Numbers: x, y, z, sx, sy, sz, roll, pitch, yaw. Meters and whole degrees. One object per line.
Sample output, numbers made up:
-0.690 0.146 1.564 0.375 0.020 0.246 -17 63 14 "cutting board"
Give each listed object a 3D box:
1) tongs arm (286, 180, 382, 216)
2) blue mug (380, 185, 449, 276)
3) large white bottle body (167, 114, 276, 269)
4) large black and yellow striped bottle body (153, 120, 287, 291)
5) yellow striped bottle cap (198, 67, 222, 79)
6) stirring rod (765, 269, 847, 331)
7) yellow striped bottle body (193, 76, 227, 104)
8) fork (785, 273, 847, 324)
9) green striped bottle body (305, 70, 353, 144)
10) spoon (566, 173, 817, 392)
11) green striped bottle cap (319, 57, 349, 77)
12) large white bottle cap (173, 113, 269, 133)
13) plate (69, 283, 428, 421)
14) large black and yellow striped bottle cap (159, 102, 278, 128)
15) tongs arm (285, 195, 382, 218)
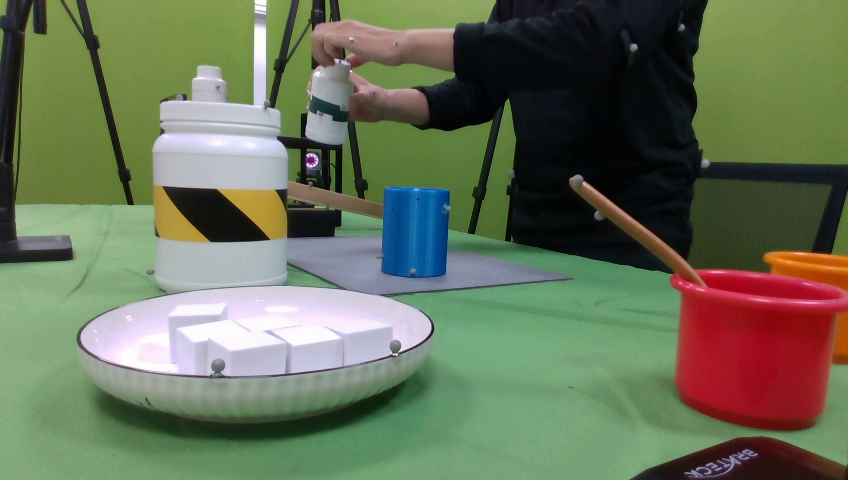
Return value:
-0.122 -0.066 1.147 0.387 0.026 0.050 11 -3 -37 "tongs arm"
-0.018 -0.016 0.764 0.083 0.106 0.116 -1 8 -25 "blue mug"
-0.256 -0.063 0.772 0.131 0.184 0.130 2 7 0 "large white bottle body"
-0.208 -0.042 0.626 0.131 0.184 0.130 2 7 0 "large black and yellow striped bottle body"
-0.411 -0.320 1.163 0.044 0.018 0.044 1 5 0 "yellow striped bottle cap"
0.352 0.020 0.484 0.176 0.006 0.014 -40 -6 13 "stirring rod"
-0.414 -0.268 1.169 0.063 0.120 0.063 2 7 0 "yellow striped bottle body"
0.332 0.018 0.444 0.028 0.018 0.207 -1 -35 -15 "fork"
-0.145 -0.213 0.931 0.063 0.119 0.063 10 20 -3 "green striped bottle body"
0.161 0.024 0.370 0.193 0.021 0.042 47 18 3 "spoon"
-0.135 -0.261 0.912 0.044 0.020 0.044 12 21 -5 "green striped bottle cap"
-0.254 -0.146 0.760 0.115 0.018 0.115 1 7 0 "large white bottle cap"
-0.102 0.066 0.381 0.208 0.039 0.207 2 7 0 "plate"
-0.207 -0.125 0.615 0.115 0.019 0.115 2 6 0 "large black and yellow striped bottle cap"
-0.165 -0.074 1.216 0.389 0.027 0.028 11 -6 -24 "tongs arm"
